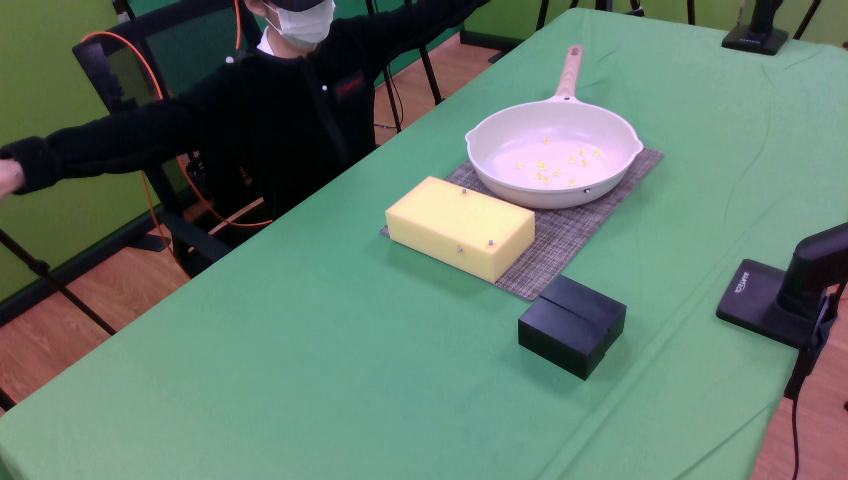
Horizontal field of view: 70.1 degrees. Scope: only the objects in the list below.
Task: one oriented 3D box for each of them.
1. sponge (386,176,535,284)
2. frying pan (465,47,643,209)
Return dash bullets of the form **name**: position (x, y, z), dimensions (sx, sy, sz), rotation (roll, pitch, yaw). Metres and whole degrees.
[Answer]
- **sponge**: position (0.057, -0.022, 0.957), dimensions (0.205, 0.061, 0.118), rotation (22, 49, 31)
- **frying pan**: position (0.255, -0.228, 1.135), dimensions (0.305, 0.103, 0.487), rotation (9, 51, 17)
